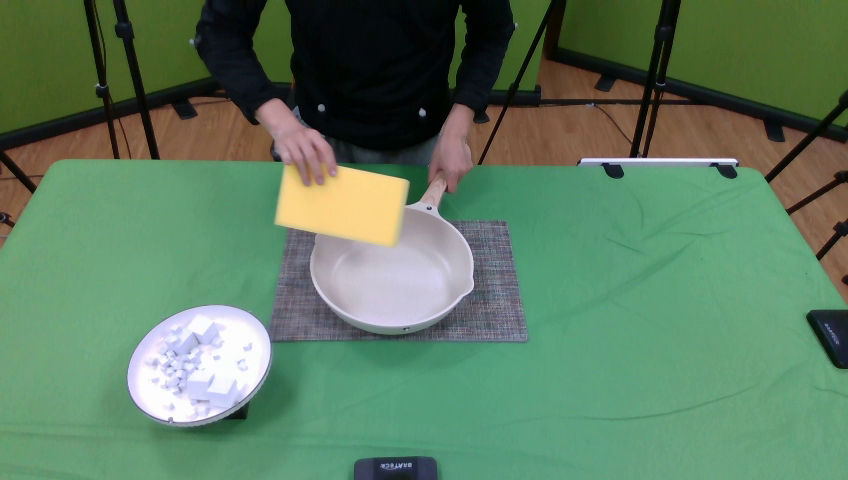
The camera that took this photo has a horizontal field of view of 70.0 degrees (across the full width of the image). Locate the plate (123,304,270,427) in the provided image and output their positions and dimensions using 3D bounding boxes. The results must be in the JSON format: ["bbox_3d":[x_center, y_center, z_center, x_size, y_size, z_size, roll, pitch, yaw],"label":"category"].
[{"bbox_3d":[-0.336,0.189,0.913,0.208,0.039,0.206,1,46,-1],"label":"plate"}]

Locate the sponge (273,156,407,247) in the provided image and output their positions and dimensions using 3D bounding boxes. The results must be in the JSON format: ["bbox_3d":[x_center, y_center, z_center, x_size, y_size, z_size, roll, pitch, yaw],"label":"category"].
[{"bbox_3d":[-0.141,-0.065,1.033,0.207,0.118,0.061,12,3,2],"label":"sponge"}]

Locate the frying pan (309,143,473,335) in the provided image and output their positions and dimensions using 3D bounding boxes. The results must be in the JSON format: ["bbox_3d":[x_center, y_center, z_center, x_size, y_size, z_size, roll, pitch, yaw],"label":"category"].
[{"bbox_3d":[-0.017,-0.022,1.155,0.306,0.103,0.486,20,57,13],"label":"frying pan"}]
